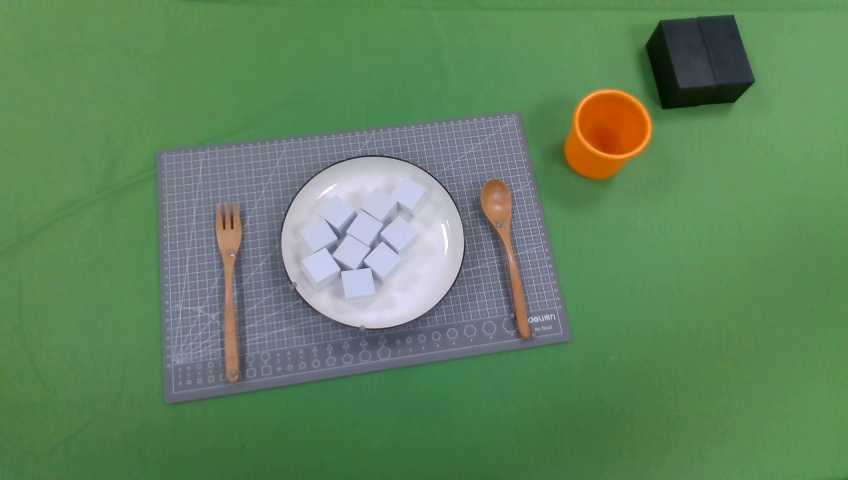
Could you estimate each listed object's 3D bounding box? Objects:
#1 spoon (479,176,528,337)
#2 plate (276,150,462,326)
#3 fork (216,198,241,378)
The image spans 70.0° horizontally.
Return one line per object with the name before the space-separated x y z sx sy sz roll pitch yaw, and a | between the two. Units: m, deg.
spoon | 0.097 0.017 0.705 0.042 0.021 0.192 -3 72 -22
plate | -0.062 -0.001 0.694 0.208 0.039 0.206 1 73 -3
fork | -0.218 0.050 0.678 0.028 0.019 0.206 -4 71 -11
